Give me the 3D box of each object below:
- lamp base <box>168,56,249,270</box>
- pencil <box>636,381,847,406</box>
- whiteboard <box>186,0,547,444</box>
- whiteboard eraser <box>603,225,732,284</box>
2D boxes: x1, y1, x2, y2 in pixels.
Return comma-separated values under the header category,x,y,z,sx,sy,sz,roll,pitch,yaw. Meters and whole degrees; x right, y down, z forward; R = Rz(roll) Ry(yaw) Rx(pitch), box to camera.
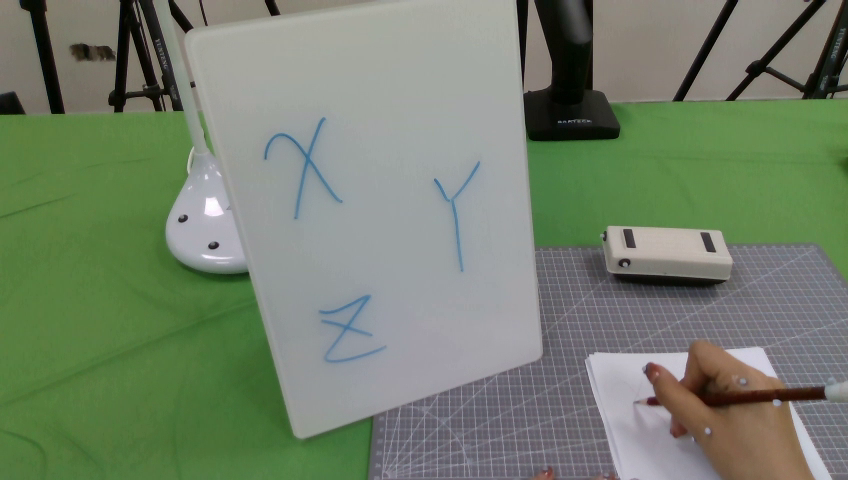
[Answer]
category,x,y,z,sx,sy,sz,roll,pitch,yaw
lamp base,-0.207,-0.087,0.621,0.177,0.182,0.160,28,48,33
pencil,0.206,0.104,0.401,0.012,0.194,0.012,6,72,-20
whiteboard,-0.038,-0.030,0.497,0.218,0.307,0.142,-14,23,-14
whiteboard eraser,0.236,0.015,0.593,0.112,0.042,0.055,3,42,6
